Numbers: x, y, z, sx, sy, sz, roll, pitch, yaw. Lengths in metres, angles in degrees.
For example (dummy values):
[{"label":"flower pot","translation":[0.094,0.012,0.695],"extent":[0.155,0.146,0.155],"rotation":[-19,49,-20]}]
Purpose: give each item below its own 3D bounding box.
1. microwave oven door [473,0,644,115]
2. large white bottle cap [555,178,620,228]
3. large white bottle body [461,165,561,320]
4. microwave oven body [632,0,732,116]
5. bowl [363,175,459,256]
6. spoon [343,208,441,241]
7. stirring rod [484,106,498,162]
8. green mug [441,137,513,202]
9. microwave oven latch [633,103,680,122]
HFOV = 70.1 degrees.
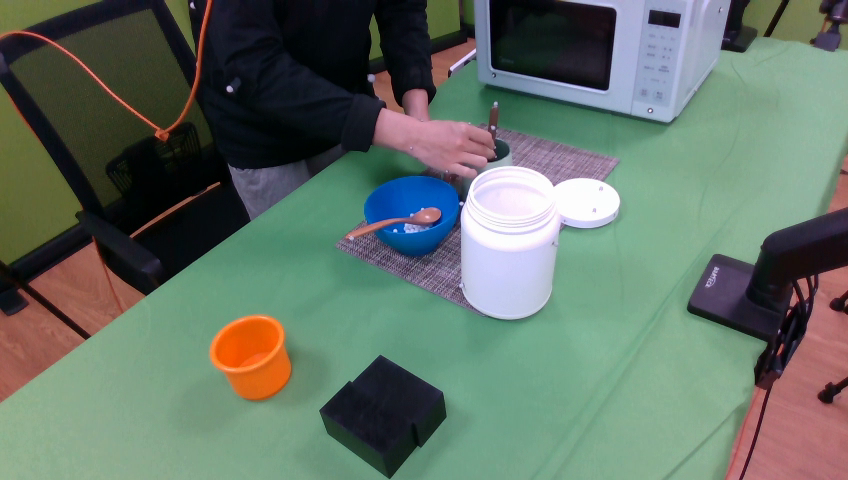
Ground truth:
[{"label":"microwave oven door","translation":[0.257,-0.396,1.199],"extent":[0.353,0.245,0.039],"rotation":[21,48,29]},{"label":"large white bottle cap","translation":[0.265,-0.063,1.001],"extent":[0.115,0.018,0.114],"rotation":[-3,42,3]},{"label":"large white bottle body","translation":[0.115,0.004,0.816],"extent":[0.130,0.185,0.130],"rotation":[-2,43,2]},{"label":"microwave oven body","translation":[0.377,-0.463,1.267],"extent":[0.438,0.261,0.327],"rotation":[21,48,30]},{"label":"bowl","translation":[-0.017,-0.028,0.954],"extent":[0.151,0.077,0.150],"rotation":[-4,40,4]},{"label":"spoon","translation":[-0.046,-0.025,0.911],"extent":[0.041,0.021,0.195],"rotation":[26,27,37]},{"label":"stirring rod","translation":[0.103,-0.134,0.962],"extent":[0.014,0.176,0.005],"rotation":[-17,44,-21]},{"label":"green mug","translation":[0.090,-0.107,1.012],"extent":[0.125,0.105,0.092],"rotation":[2,41,11]},{"label":"microwave oven latch","translation":[0.443,-0.249,1.157],"extent":[0.078,0.029,0.030],"rotation":[20,48,29]}]
